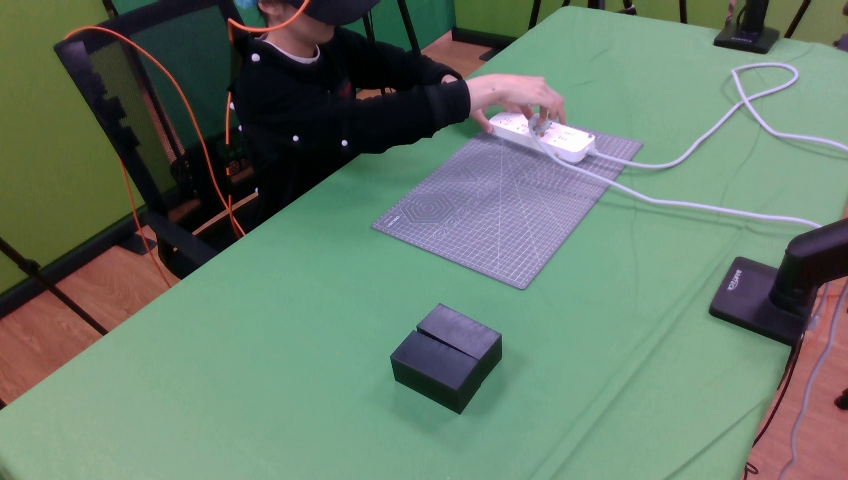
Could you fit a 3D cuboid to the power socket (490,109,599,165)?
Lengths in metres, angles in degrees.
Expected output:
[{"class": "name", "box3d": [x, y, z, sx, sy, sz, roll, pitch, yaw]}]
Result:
[{"class": "power socket", "box3d": [0.226, -0.201, 1.167, 0.225, 0.033, 0.072, 28, 53, 34]}]

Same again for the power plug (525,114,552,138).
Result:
[{"class": "power plug", "box3d": [0.207, -0.207, 1.128, 0.073, 0.053, 0.035, -30, 39, -22]}]
